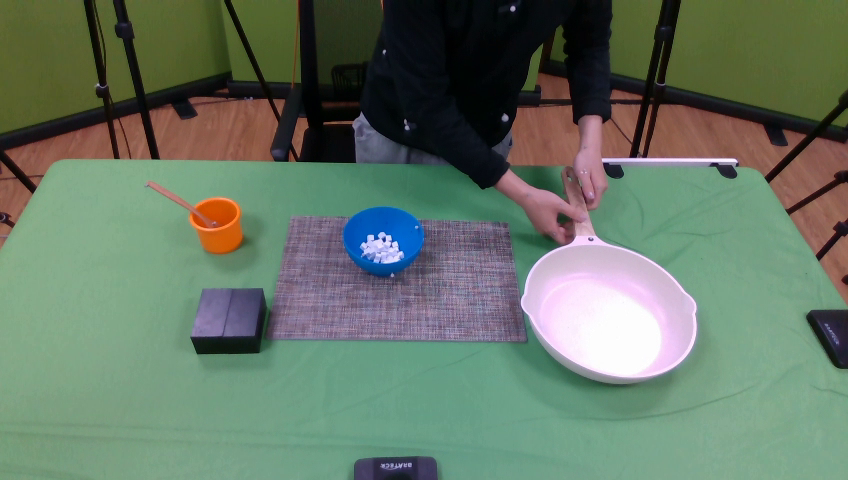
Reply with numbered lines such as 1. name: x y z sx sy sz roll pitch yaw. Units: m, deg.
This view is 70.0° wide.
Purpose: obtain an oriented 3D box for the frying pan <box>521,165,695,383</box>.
1. frying pan: 0.312 0.044 1.123 0.307 0.103 0.484 1 55 -5

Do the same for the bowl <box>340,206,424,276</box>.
1. bowl: -0.079 0.014 1.133 0.151 0.077 0.150 2 46 -2

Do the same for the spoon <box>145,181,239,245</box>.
1. spoon: -0.428 -0.052 1.126 0.021 0.195 0.041 -27 35 33
